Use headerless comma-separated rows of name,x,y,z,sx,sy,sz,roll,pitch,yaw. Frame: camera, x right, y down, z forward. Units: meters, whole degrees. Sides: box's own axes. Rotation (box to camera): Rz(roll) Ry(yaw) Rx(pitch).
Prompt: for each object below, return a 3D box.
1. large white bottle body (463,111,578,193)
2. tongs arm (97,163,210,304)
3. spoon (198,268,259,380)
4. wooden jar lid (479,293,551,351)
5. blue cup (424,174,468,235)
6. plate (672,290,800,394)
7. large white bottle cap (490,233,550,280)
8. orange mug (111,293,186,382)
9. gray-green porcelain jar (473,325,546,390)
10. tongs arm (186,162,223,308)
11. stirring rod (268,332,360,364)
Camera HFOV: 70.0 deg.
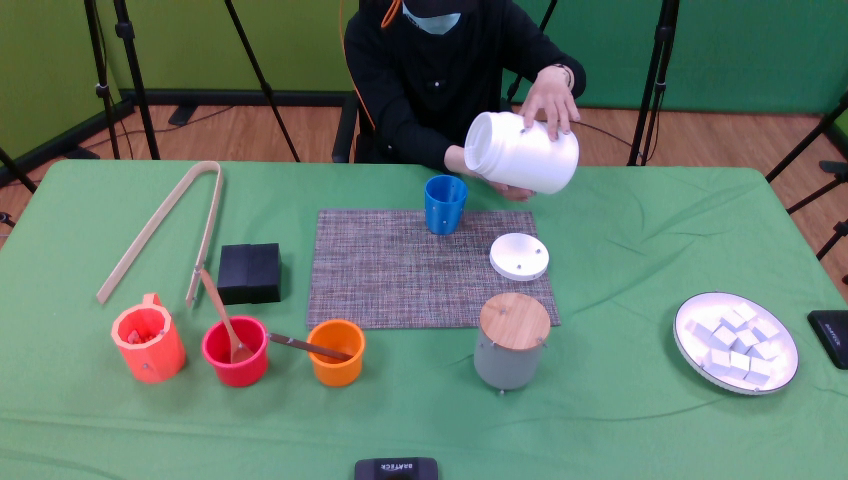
large white bottle body,0.178,-0.167,1.137,0.185,0.131,0.129,10,43,-22
tongs arm,-0.520,-0.028,1.183,0.028,0.028,0.385,5,45,12
spoon,-0.312,0.132,0.962,0.041,0.021,0.194,-24,96,-22
wooden jar lid,0.137,0.127,0.925,0.108,0.021,0.107,1,47,-1
blue cup,0.039,-0.065,1.201,0.093,0.101,0.092,3,47,-3
plate,0.533,0.178,1.050,0.208,0.039,0.206,2,46,-2
large white bottle cap,0.186,0.031,1.177,0.115,0.018,0.114,2,46,-2
orange mug,-0.435,0.149,0.969,0.083,0.101,0.125,-5,51,-9
gray-green porcelain jar,0.135,0.170,0.969,0.106,0.127,0.105,2,46,-2
tongs arm,-0.436,-0.024,1.181,0.051,0.026,0.382,-2,45,0
stirring rod,-0.167,0.169,0.941,0.177,0.006,0.014,26,26,-41
